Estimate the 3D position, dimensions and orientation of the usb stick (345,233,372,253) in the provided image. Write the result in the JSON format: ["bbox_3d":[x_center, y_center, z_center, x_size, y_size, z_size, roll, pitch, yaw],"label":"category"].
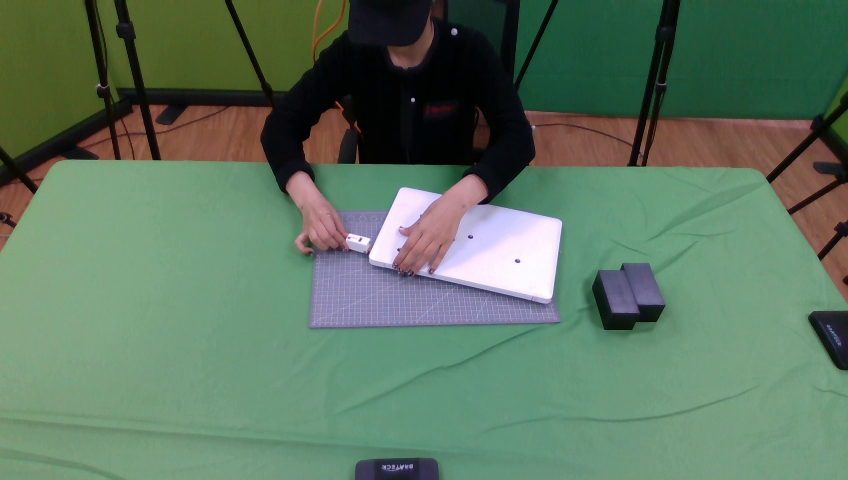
[{"bbox_3d":[-0.121,0.007,1.168,0.059,0.027,0.021,18,47,9],"label":"usb stick"}]

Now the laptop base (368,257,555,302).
[{"bbox_3d":[0.089,0.005,1.205,0.354,0.023,0.234,12,42,8],"label":"laptop base"}]

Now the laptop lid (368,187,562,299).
[{"bbox_3d":[0.091,-0.004,1.199,0.356,0.013,0.240,13,44,9],"label":"laptop lid"}]
